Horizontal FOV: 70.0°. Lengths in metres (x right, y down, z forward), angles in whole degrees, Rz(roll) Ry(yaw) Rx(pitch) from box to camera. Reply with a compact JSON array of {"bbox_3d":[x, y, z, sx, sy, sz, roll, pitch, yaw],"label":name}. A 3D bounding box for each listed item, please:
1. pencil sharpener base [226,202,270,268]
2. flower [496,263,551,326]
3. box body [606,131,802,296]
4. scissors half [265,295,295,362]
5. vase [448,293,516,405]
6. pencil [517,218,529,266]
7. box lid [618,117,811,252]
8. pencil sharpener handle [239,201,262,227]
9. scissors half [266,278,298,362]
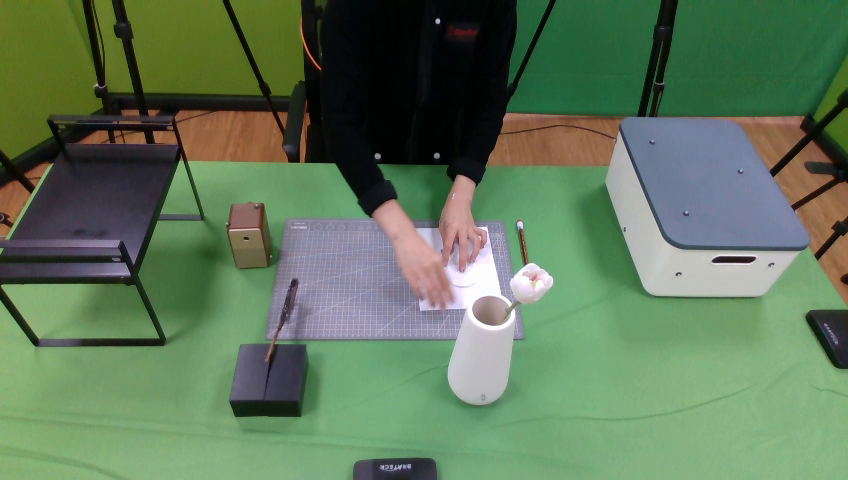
[{"bbox_3d":[-0.323,-0.010,1.123,0.061,0.107,0.076,-3,46,-7],"label":"pencil sharpener base"},{"bbox_3d":[0.102,0.120,0.853,0.044,0.363,0.038,-2,64,-10],"label":"flower"},{"bbox_3d":[0.530,-0.067,1.204,0.254,0.161,0.361,0,46,-4],"label":"box body"},{"bbox_3d":[-0.239,0.143,1.005,0.013,0.040,0.174,17,28,-6],"label":"scissors half"},{"bbox_3d":[0.091,0.169,0.921,0.098,0.201,0.097,3,47,-3],"label":"vase"},{"bbox_3d":[0.200,0.027,1.196,0.012,0.012,0.193,1,48,-3],"label":"pencil"},{"bbox_3d":[0.534,-0.117,1.149,0.263,0.015,0.369,0,47,-3],"label":"box lid"},{"bbox_3d":[-0.325,-0.055,1.150,0.036,0.068,0.030,-13,46,3],"label":"pencil sharpener handle"},{"bbox_3d":[-0.234,0.127,0.993,0.013,0.040,0.174,12,46,-4],"label":"scissors half"}]
